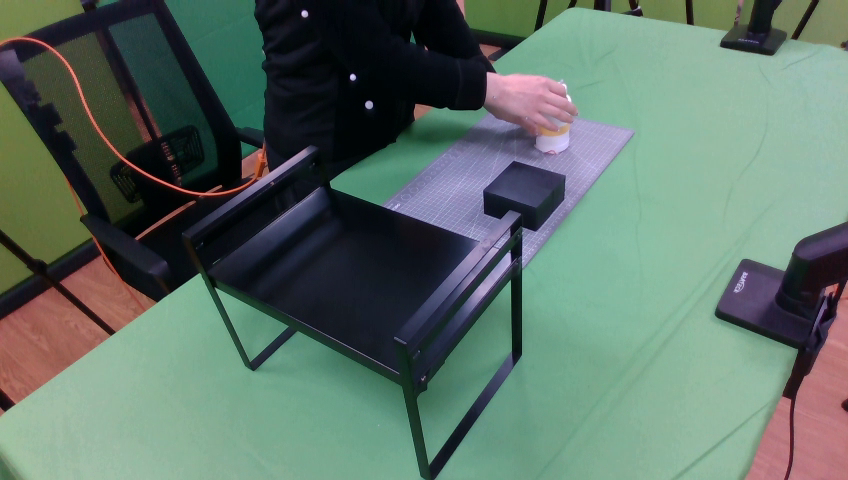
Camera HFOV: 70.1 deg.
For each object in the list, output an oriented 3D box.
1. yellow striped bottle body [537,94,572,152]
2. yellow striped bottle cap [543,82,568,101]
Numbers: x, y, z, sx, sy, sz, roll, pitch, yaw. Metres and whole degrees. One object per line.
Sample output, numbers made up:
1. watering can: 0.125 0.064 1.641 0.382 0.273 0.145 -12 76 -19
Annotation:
1. yellow striped bottle body: 0.243 -0.230 1.127 0.063 0.121 0.062 -5 40 4
2. yellow striped bottle cap: 0.238 -0.269 1.093 0.044 0.019 0.044 -4 38 4
